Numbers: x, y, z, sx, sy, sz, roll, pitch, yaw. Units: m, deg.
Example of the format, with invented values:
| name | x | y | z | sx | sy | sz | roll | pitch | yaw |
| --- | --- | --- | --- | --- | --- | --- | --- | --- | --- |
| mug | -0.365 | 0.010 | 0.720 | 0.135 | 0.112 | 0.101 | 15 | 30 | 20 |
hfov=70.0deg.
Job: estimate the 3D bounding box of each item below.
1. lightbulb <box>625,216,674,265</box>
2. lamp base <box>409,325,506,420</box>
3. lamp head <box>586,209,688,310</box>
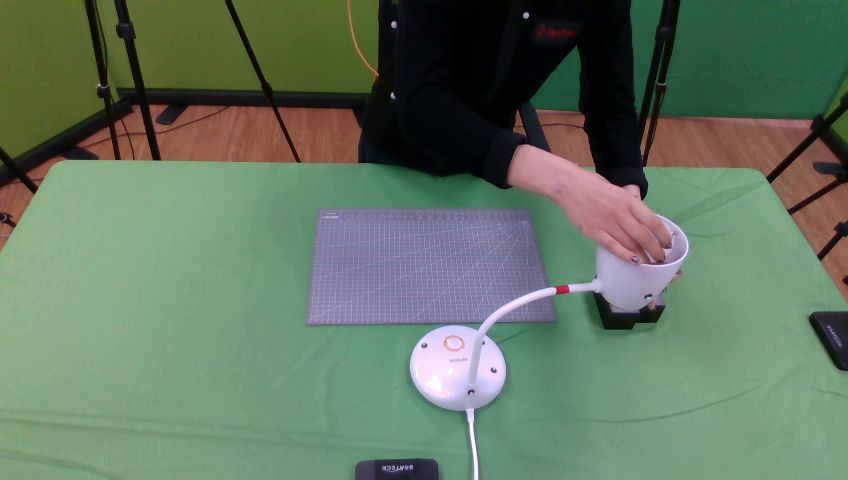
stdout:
| name | x | y | z | sx | sy | sz | roll | pitch | yaw |
| --- | --- | --- | --- | --- | --- | --- | --- | --- | --- |
| lightbulb | 0.287 | 0.014 | 0.798 | 0.059 | 0.108 | 0.059 | 4 | 48 | -4 |
| lamp base | 0.064 | 0.164 | 0.937 | 0.161 | 0.181 | 0.178 | -11 | 51 | -14 |
| lamp head | 0.280 | 0.037 | 0.821 | 0.112 | 0.123 | 0.111 | 5 | 41 | -4 |
